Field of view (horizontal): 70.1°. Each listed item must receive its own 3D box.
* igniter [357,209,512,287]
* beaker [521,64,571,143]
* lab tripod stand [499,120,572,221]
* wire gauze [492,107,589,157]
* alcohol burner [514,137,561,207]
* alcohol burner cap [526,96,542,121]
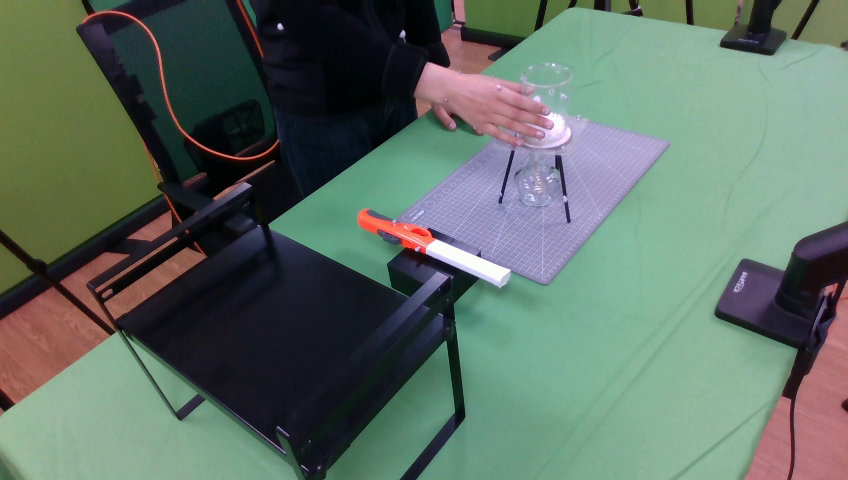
[{"bbox_3d":[0.004,0.006,0.891,0.274,0.025,0.057,23,38,30],"label":"igniter"},{"bbox_3d":[0.187,-0.208,0.924,0.073,0.101,0.084,23,49,30],"label":"beaker"},{"bbox_3d":[0.197,-0.116,0.992,0.148,0.132,0.147,-3,41,3],"label":"lab tripod stand"},{"bbox_3d":[0.185,-0.170,0.954,0.121,0.011,0.125,13,46,22],"label":"wire gauze"},{"bbox_3d":[0.189,-0.116,1.008,0.078,0.119,0.077,-6,39,5],"label":"alcohol burner"},{"bbox_3d":[0.225,-0.272,1.243,0.034,0.048,0.033,-5,41,5],"label":"alcohol burner cap"}]
